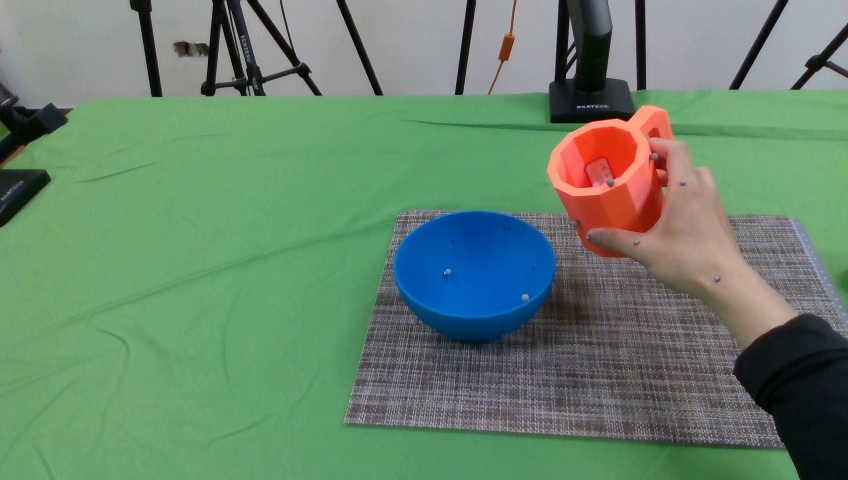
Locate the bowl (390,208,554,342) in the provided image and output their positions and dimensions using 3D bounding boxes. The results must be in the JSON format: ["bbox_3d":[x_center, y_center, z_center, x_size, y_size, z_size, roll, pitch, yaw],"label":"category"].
[{"bbox_3d":[0.046,0.044,0.581,0.151,0.077,0.150,-3,40,3],"label":"bowl"}]

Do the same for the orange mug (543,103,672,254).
[{"bbox_3d":[0.178,-0.061,0.553,0.126,0.102,0.082,-51,44,-4],"label":"orange mug"}]
